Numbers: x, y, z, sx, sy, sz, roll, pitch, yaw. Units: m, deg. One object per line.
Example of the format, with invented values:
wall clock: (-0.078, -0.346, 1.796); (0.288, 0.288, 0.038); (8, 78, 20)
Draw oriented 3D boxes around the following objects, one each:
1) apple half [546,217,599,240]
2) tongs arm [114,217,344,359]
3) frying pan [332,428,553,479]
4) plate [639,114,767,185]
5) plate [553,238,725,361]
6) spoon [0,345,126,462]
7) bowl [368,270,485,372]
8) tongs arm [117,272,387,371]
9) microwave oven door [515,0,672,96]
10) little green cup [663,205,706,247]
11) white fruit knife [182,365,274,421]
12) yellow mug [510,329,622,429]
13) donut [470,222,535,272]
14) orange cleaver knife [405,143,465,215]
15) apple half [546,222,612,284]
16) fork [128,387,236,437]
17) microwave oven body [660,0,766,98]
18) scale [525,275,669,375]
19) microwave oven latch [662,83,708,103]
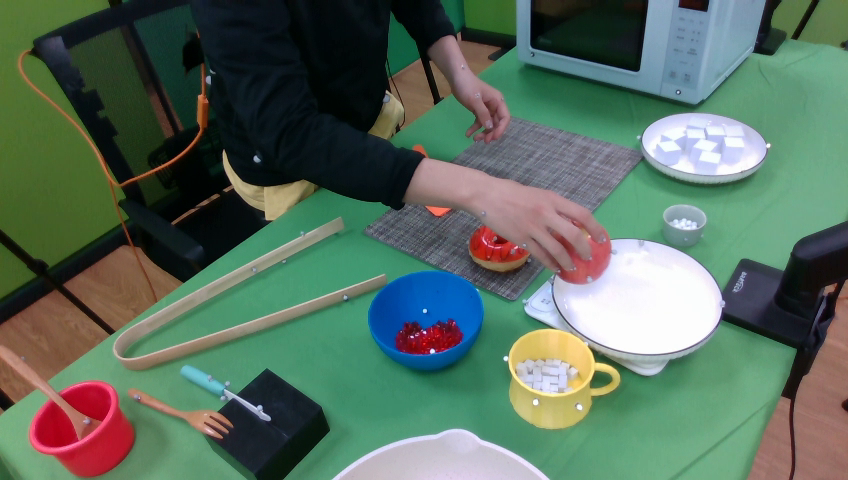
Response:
apple half: (0.194, 0.000, 0.783); (0.081, 0.081, 0.032); (-5, 36, 4)
tongs arm: (-0.280, 0.067, 0.927); (0.386, 0.026, 0.050); (-29, 49, -23)
frying pan: (-0.089, 0.306, 0.564); (0.487, 0.103, 0.306); (10, 41, 7)
plate: (0.489, -0.157, 1.074); (0.207, 0.039, 0.206); (-4, 40, 4)
plate: (0.273, 0.078, 0.783); (0.209, 0.038, 0.208); (-4, 41, 4)
spoon: (-0.434, 0.191, 0.720); (0.194, 0.021, 0.042); (47, 53, -6)
bowl: (0.007, 0.119, 0.791); (0.151, 0.077, 0.150); (-5, 40, 4)
tongs arm: (-0.236, 0.114, 0.870); (0.389, 0.028, 0.028); (-18, 49, -12)
microwave oven door: (0.343, -0.455, 1.259); (0.353, 0.245, 0.039); (26, 51, 33)
little green cup: (0.396, -0.020, 0.926); (0.061, 0.039, 0.061); (-4, 40, 4)
white fruit knife: (-0.245, 0.188, 0.747); (0.205, 0.027, 0.016); (9, 40, 41)
yellow mug: (0.168, 0.164, 0.721); (0.130, 0.064, 0.099); (0, 40, 8)
donut: (0.119, 0.010, 0.923); (0.099, 0.048, 0.098); (-4, 38, 3)
orange cleaver knife: (0.005, -0.113, 1.102); (0.077, 0.012, 0.209); (-23, 45, -10)
apple half: (0.194, 0.021, 0.751); (0.081, 0.075, 0.053); (-3, 36, 3)
fork: (-0.305, 0.207, 0.744); (0.206, 0.019, 0.028); (3, 40, 36)
microwave oven body: (0.472, -0.513, 1.317); (0.438, 0.261, 0.327); (26, 51, 34)
scale: (0.254, 0.092, 0.821); (0.199, 0.032, 0.149); (28, 51, 35)
microwave oven latch: (0.517, -0.296, 1.204); (0.078, 0.029, 0.030); (28, 52, 35)
